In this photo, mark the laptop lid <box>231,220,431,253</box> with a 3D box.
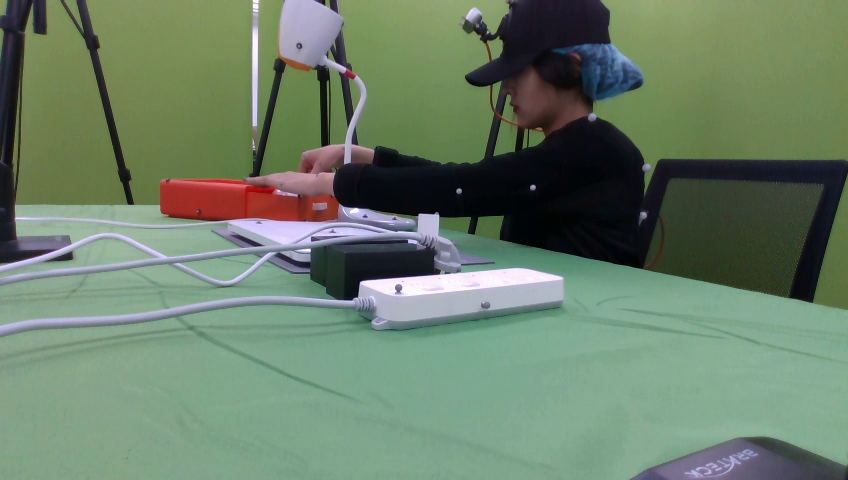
[{"bbox_3d":[-0.142,-0.009,0.942,0.243,0.013,0.355,1,7,-31],"label":"laptop lid"}]

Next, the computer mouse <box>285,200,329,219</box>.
[{"bbox_3d":[-0.249,-0.064,1.293,0.063,0.041,0.117,1,0,11],"label":"computer mouse"}]

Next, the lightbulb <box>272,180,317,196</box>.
[{"bbox_3d":[-0.283,-0.099,1.320,0.108,0.059,0.059,-30,17,-15],"label":"lightbulb"}]

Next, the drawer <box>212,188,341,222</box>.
[{"bbox_3d":[-0.312,-0.076,1.297,0.211,0.073,0.195,3,8,17],"label":"drawer"}]

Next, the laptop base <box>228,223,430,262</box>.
[{"bbox_3d":[-0.145,0.002,0.943,0.237,0.023,0.352,1,6,-32],"label":"laptop base"}]

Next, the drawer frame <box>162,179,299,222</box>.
[{"bbox_3d":[-0.418,-0.089,1.329,0.213,0.082,0.202,4,8,18],"label":"drawer frame"}]

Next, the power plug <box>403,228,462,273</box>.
[{"bbox_3d":[0.006,0.016,0.647,0.073,0.052,0.035,17,12,-6],"label":"power plug"}]

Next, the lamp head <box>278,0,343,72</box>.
[{"bbox_3d":[-0.218,-0.376,1.125,0.112,0.123,0.112,17,10,-3],"label":"lamp head"}]

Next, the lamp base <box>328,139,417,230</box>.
[{"bbox_3d":[-0.104,-0.113,1.213,0.180,0.180,0.160,-2,6,-14],"label":"lamp base"}]

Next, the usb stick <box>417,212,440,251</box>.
[{"bbox_3d":[0.005,-0.003,0.721,0.027,0.059,0.021,0,-3,-3],"label":"usb stick"}]

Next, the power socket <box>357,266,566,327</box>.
[{"bbox_3d":[0.042,0.049,0.573,0.228,0.032,0.072,-3,8,-34],"label":"power socket"}]
